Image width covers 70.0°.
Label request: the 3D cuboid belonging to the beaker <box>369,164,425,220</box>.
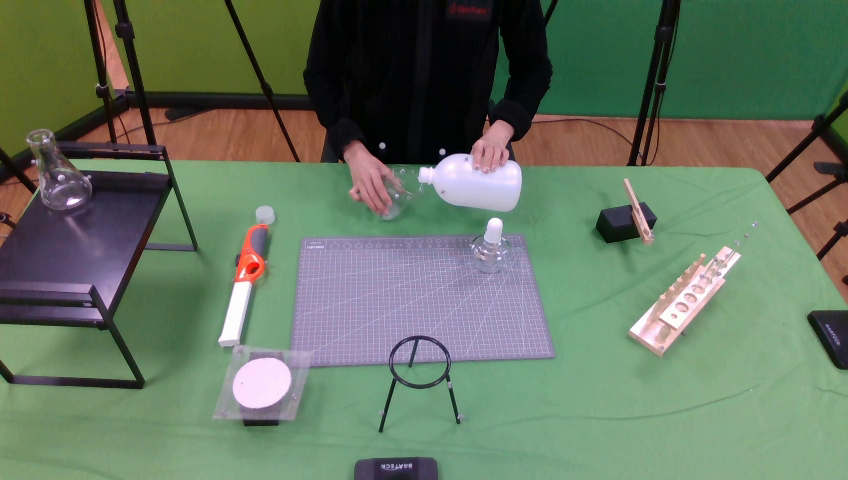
[{"bbox_3d":[-0.056,-0.092,1.218,0.084,0.100,0.073,25,43,-26],"label":"beaker"}]

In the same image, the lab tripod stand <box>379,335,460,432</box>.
[{"bbox_3d":[-0.011,0.214,0.911,0.148,0.132,0.147,1,45,0],"label":"lab tripod stand"}]

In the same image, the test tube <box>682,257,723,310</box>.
[{"bbox_3d":[0.475,0.080,1.037,0.017,0.151,0.017,1,50,-1],"label":"test tube"}]

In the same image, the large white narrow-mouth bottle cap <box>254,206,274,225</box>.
[{"bbox_3d":[-0.323,-0.049,1.222,0.038,0.024,0.037,2,47,-2],"label":"large white narrow-mouth bottle cap"}]

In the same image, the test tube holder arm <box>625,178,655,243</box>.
[{"bbox_3d":[0.433,-0.062,1.220,0.013,0.015,0.177,0,47,-3],"label":"test tube holder arm"}]

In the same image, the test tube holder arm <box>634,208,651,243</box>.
[{"bbox_3d":[0.428,-0.030,1.189,0.010,0.015,0.087,1,47,-2],"label":"test tube holder arm"}]

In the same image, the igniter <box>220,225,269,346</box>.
[{"bbox_3d":[-0.323,0.072,1.100,0.057,0.025,0.274,-5,46,5],"label":"igniter"}]

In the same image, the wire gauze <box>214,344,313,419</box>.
[{"bbox_3d":[-0.241,0.213,0.916,0.121,0.011,0.124,5,46,1],"label":"wire gauze"}]

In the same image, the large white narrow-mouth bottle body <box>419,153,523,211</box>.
[{"bbox_3d":[0.086,-0.117,1.173,0.195,0.102,0.101,7,45,-8],"label":"large white narrow-mouth bottle body"}]

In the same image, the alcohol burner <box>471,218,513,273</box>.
[{"bbox_3d":[0.128,0.005,1.132,0.078,0.120,0.077,0,47,0],"label":"alcohol burner"}]

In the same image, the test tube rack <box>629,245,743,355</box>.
[{"bbox_3d":[0.474,0.095,1.091,0.242,0.085,0.066,-34,56,-31],"label":"test tube rack"}]

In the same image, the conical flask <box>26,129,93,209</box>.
[{"bbox_3d":[-0.575,-0.113,0.946,0.075,0.122,0.075,2,46,-2],"label":"conical flask"}]

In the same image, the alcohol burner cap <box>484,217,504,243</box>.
[{"bbox_3d":[0.130,-0.021,1.107,0.034,0.048,0.033,4,40,-3],"label":"alcohol burner cap"}]

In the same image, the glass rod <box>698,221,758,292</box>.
[{"bbox_3d":[0.527,0.035,1.060,0.008,0.200,0.008,5,49,-6],"label":"glass rod"}]
